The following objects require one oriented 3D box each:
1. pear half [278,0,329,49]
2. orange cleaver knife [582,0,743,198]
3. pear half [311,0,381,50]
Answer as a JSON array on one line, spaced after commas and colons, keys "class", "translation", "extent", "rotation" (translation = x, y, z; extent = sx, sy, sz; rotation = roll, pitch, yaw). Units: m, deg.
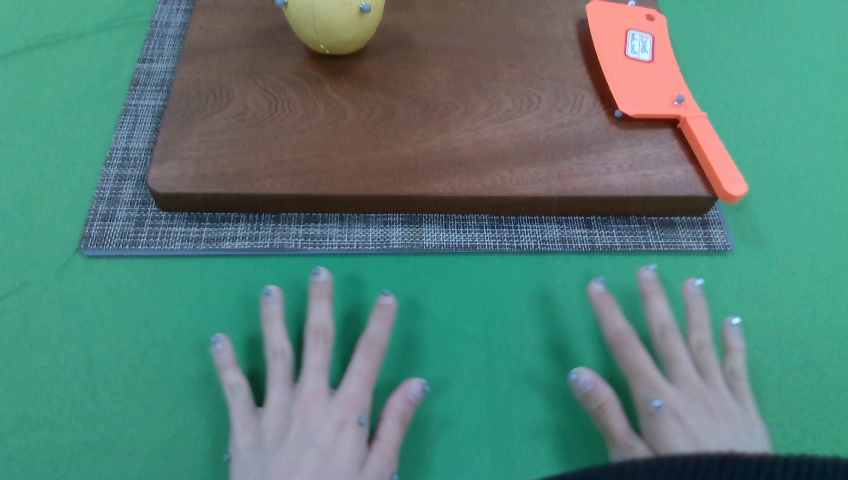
[{"class": "pear half", "translation": [-0.081, -0.202, 0.444], "extent": [0.056, 0.110, 0.076], "rotation": [26, 55, 12]}, {"class": "orange cleaver knife", "translation": [0.177, -0.120, 0.466], "extent": [0.077, 0.012, 0.209], "rotation": [-6, 61, -11]}, {"class": "pear half", "translation": [-0.051, -0.180, 0.445], "extent": [0.031, 0.088, 0.070], "rotation": [25, 55, 13]}]
